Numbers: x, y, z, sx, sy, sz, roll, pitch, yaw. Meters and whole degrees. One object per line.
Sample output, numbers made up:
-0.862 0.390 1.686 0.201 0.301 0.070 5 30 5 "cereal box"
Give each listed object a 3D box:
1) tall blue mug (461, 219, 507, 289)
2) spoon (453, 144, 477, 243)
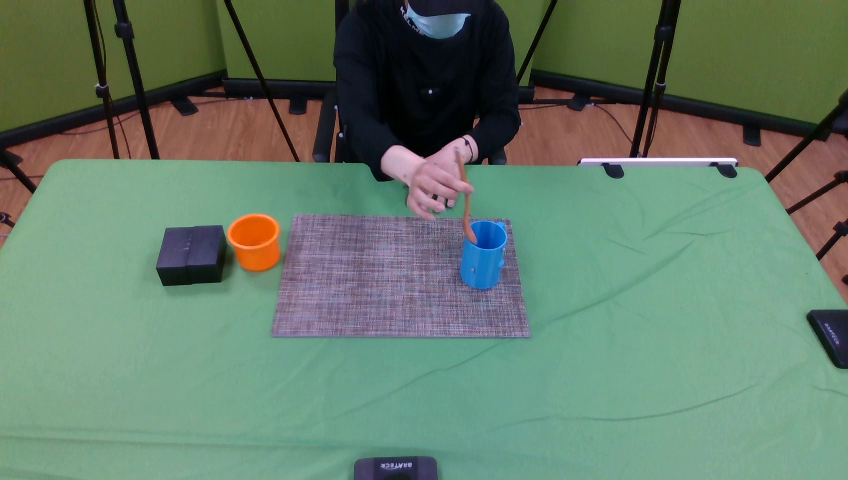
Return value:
0.111 0.016 1.122 0.078 0.108 0.106 6 46 4 "tall blue mug"
0.069 -0.075 1.019 0.021 0.195 0.041 -5 35 7 "spoon"
